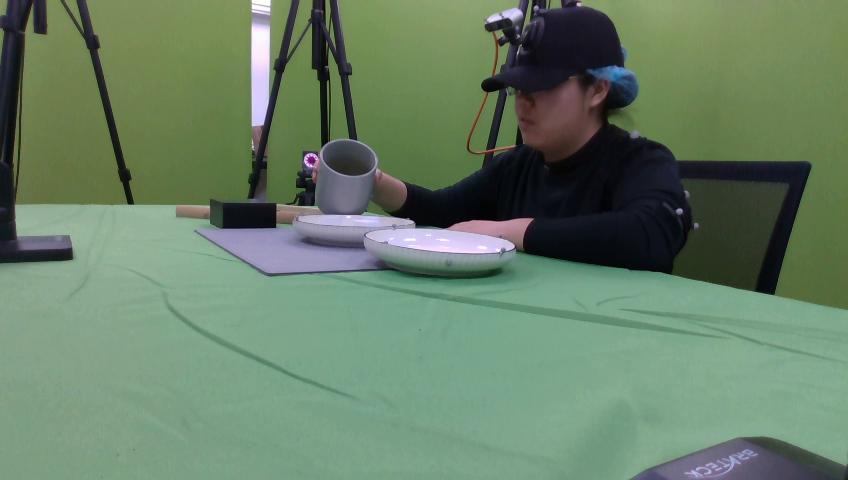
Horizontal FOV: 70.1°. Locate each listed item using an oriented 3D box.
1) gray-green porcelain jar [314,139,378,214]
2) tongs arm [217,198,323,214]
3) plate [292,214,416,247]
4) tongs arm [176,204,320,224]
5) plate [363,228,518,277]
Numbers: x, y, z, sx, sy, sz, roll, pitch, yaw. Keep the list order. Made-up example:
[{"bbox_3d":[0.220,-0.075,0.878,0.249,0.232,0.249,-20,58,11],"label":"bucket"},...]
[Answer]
[{"bbox_3d":[-0.149,-0.108,1.131,0.106,0.126,0.105,9,47,-10],"label":"gray-green porcelain jar"},{"bbox_3d":[-0.313,-0.064,1.352,0.384,0.026,0.051,7,8,17],"label":"tongs arm"},{"bbox_3d":[-0.118,-0.017,1.024,0.208,0.039,0.207,2,8,0],"label":"plate"},{"bbox_3d":[-0.333,-0.052,1.273,0.387,0.028,0.028,4,4,4],"label":"tongs arm"},{"bbox_3d":[0.021,0.016,0.817,0.209,0.038,0.209,4,9,0],"label":"plate"}]
